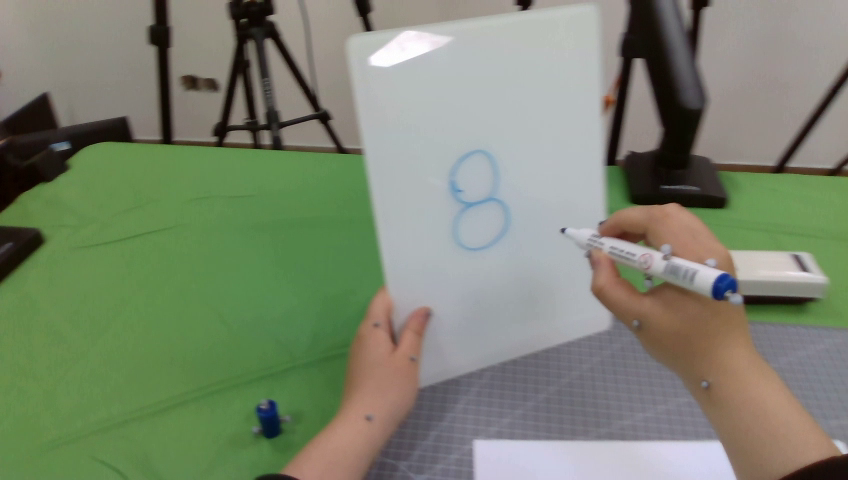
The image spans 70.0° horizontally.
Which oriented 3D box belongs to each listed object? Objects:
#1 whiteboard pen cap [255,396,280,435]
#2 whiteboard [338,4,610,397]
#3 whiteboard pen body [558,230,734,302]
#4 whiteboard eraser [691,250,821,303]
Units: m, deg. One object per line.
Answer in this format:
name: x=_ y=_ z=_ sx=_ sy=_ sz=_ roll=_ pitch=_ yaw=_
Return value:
whiteboard pen cap: x=-0.129 y=0.146 z=0.501 sx=0.018 sy=0.033 sz=0.018 roll=0 pitch=37 yaw=0
whiteboard: x=0.038 y=-0.046 z=0.582 sx=0.218 sy=0.307 sz=0.142 roll=-14 pitch=17 yaw=-16
whiteboard pen body: x=0.128 y=0.011 z=0.375 sx=0.017 sy=0.017 sz=0.139 roll=-18 pitch=21 yaw=-22
whiteboard eraser: x=0.343 y=0.038 z=0.632 sx=0.112 sy=0.042 sz=0.055 roll=2 pitch=38 yaw=4
